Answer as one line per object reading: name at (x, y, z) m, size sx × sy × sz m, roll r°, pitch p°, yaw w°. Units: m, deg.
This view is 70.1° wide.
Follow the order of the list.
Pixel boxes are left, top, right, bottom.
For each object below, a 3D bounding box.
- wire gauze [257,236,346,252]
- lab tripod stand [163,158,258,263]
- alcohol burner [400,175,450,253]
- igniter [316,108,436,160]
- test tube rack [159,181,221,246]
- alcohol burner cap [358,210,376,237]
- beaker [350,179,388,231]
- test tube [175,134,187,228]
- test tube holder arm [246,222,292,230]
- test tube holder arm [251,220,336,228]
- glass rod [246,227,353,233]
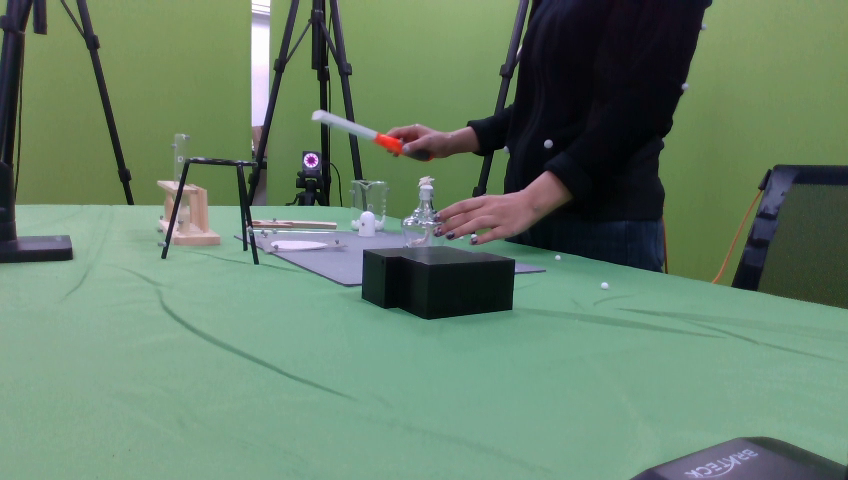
wire gauze at (-0.189, 0.005, 0.931) m, size 0.122 × 0.011 × 0.124 m, roll 1°, pitch 7°, yaw -21°
lab tripod stand at (-0.265, -0.041, 0.802) m, size 0.148 × 0.131 × 0.148 m, roll 4°, pitch 7°, yaw 0°
alcohol burner at (0.003, -0.040, 0.934) m, size 0.078 × 0.119 × 0.078 m, roll 3°, pitch 10°, yaw 0°
igniter at (-0.089, -0.210, 1.218) m, size 0.278 × 0.025 × 0.057 m, roll 15°, pitch -5°, yaw -38°
test tube rack at (-0.395, -0.050, 1.010) m, size 0.067 × 0.085 × 0.241 m, roll -2°, pitch 8°, yaw -28°
alcohol burner cap at (-0.104, -0.030, 1.098) m, size 0.034 × 0.048 × 0.034 m, roll 2°, pitch 7°, yaw 0°
beaker at (-0.111, -0.069, 1.204) m, size 0.074 × 0.100 × 0.084 m, roll 2°, pitch 8°, yaw 0°
test tube at (-0.388, -0.094, 0.964) m, size 0.017 × 0.150 × 0.017 m, roll 1°, pitch 2°, yaw 0°
test tube holder arm at (-0.291, -0.026, 1.129) m, size 0.088 × 0.015 × 0.010 m, roll -1°, pitch 41°, yaw -29°
test tube holder arm at (-0.253, -0.030, 1.155) m, size 0.179 × 0.015 × 0.013 m, roll -1°, pitch 41°, yaw -30°
glass rod at (-0.224, -0.017, 1.109) m, size 0.201 × 0.008 × 0.008 m, roll 1°, pitch 7°, yaw -27°
